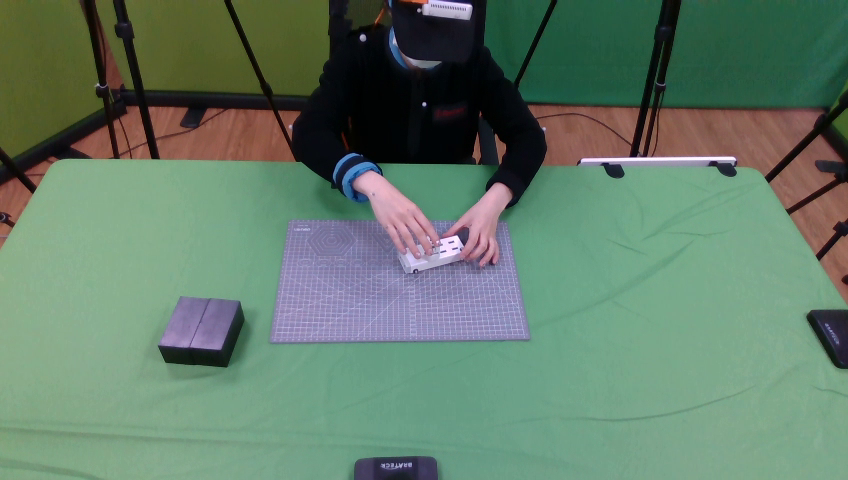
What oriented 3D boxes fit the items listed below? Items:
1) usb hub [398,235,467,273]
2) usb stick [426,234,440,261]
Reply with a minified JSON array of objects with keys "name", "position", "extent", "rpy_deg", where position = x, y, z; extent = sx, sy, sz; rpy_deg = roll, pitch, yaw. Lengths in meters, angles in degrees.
[{"name":"usb hub","position":[0.016,0.027,1.165],"extent":[0.125,0.025,0.049],"rpy_deg":[-14,49,-17]},{"name":"usb stick","position":[0.017,0.019,1.133],"extent":[0.021,0.059,0.027],"rpy_deg":[-16,52,-14]}]
